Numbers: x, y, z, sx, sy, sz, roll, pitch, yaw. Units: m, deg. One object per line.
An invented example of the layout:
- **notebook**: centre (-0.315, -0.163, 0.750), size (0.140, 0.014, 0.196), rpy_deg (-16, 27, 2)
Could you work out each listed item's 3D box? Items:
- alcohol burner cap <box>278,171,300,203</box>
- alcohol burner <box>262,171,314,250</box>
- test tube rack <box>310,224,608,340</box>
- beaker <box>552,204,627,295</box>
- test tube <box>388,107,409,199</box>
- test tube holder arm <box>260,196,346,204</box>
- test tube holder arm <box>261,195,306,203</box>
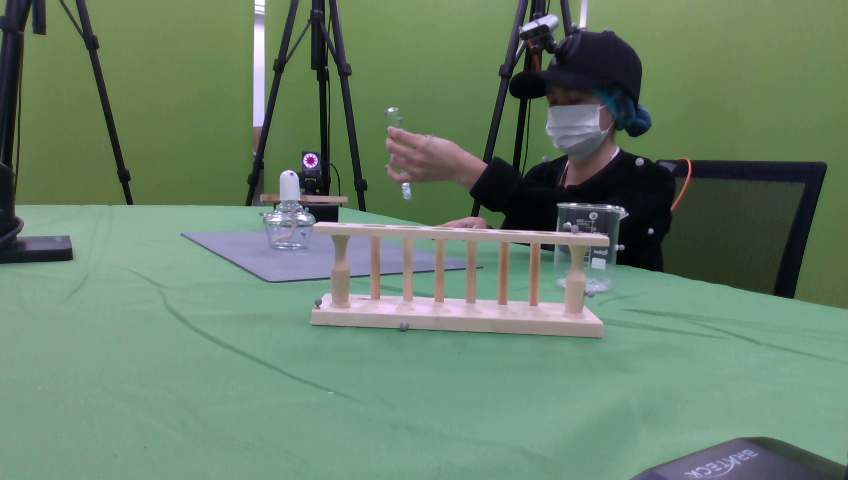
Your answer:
- **alcohol burner cap**: centre (-0.203, -0.080, 0.909), size (0.034, 0.048, 0.034), rpy_deg (-1, 3, 0)
- **alcohol burner**: centre (-0.205, -0.045, 0.913), size (0.078, 0.119, 0.078), rpy_deg (1, 9, 0)
- **test tube rack**: centre (0.028, 0.032, 0.528), size (0.242, 0.085, 0.067), rpy_deg (3, 7, 0)
- **beaker**: centre (0.191, 0.010, 0.708), size (0.083, 0.100, 0.074), rpy_deg (8, 9, 33)
- **test tube**: centre (-0.039, -0.134, 0.947), size (0.017, 0.150, 0.017), rpy_deg (-5, 28, 3)
- **test tube holder arm**: centre (-0.239, -0.081, 1.214), size (0.179, 0.015, 0.013), rpy_deg (-1, 0, -32)
- **test tube holder arm**: centre (-0.275, -0.081, 1.185), size (0.088, 0.015, 0.010), rpy_deg (-1, 1, -32)
